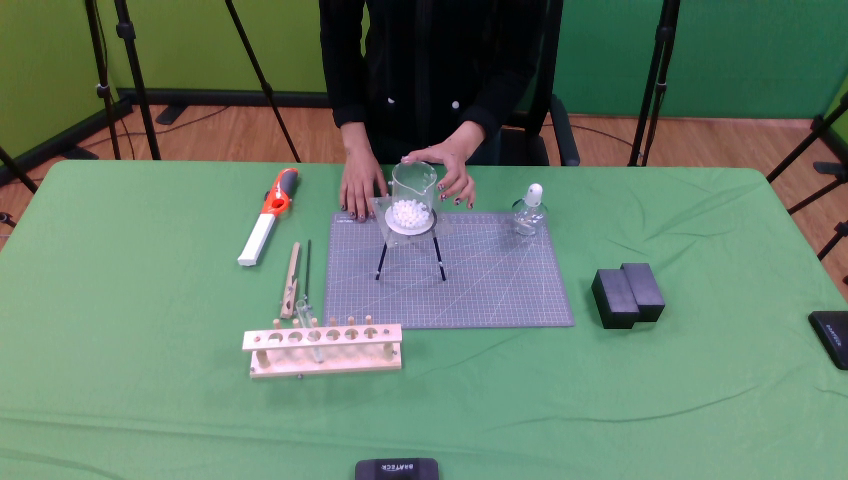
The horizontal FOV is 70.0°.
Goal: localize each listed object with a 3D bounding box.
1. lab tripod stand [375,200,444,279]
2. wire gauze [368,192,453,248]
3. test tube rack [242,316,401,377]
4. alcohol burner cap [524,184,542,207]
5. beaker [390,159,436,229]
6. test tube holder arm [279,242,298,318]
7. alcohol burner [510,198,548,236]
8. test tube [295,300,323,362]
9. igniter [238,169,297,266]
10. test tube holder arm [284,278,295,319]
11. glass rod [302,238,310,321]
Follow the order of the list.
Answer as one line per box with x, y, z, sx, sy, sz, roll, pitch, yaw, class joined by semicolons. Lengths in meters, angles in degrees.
-0.023;0.003;1.114;0.148;0.132;0.147;4;45;-3;lab tripod stand
-0.025;-0.041;1.065;0.122;0.011;0.124;-10;46;-18;wire gauze
-0.161;0.166;0.983;0.242;0.085;0.066;-2;46;-6;test tube rack
0.216;-0.090;1.186;0.034;0.048;0.033;1;56;-1;alcohol burner cap
-0.020;-0.073;1.029;0.074;0.101;0.083;-10;48;-16;beaker
-0.248;0.069;1.114;0.013;0.015;0.177;25;39;-26;test tube holder arm
0.214;-0.066;1.213;0.078;0.119;0.077;2;48;-2;alcohol burner
-0.176;0.143;0.935;0.017;0.151;0.017;-2;46;2;test tube
-0.313;-0.055;1.224;0.057;0.025;0.275;1;45;10;igniter
-0.241;0.103;1.085;0.010;0.015;0.087;24;39;-26;test tube holder arm
-0.218;0.068;1.125;0.008;0.008;0.198;-2;47;-5;glass rod
